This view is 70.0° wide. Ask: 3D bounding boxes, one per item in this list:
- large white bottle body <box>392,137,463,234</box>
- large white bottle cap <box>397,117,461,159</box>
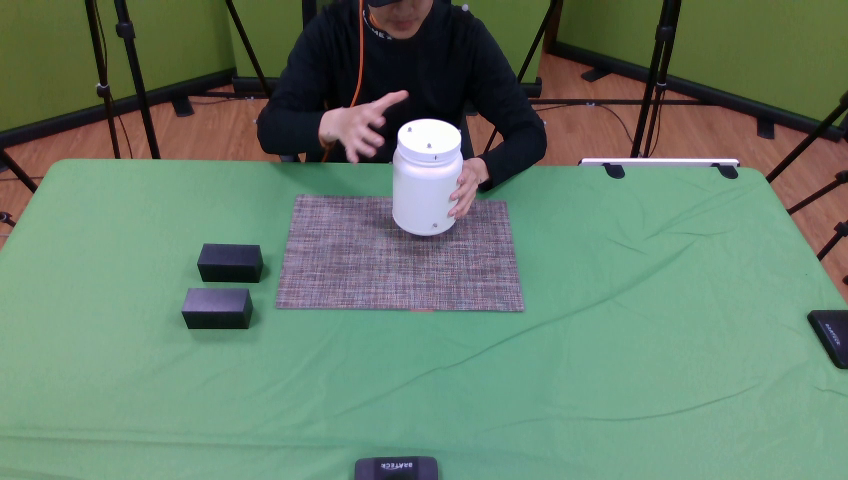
[{"bbox_3d":[0.005,-0.117,1.145,0.131,0.185,0.130,2,42,-2],"label":"large white bottle body"},{"bbox_3d":[0.009,-0.183,1.085,0.115,0.018,0.114,2,42,-2],"label":"large white bottle cap"}]
